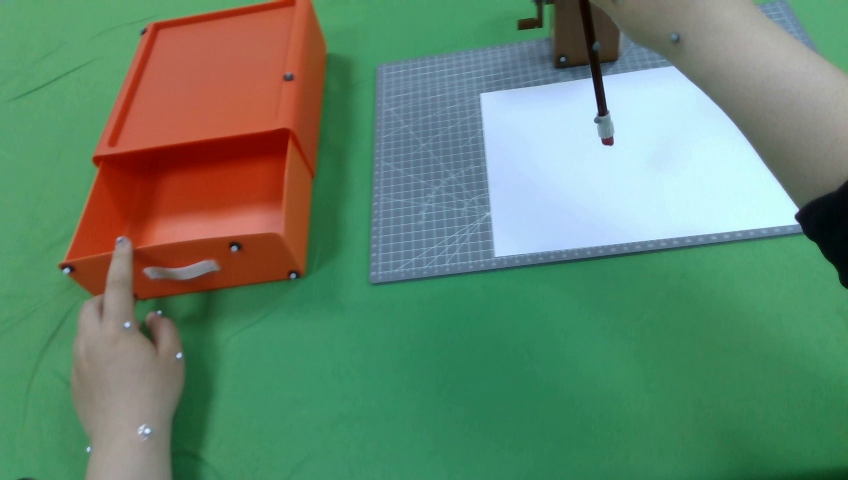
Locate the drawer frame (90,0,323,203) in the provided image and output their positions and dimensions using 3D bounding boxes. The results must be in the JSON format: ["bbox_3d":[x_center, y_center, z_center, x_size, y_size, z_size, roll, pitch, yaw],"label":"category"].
[{"bbox_3d":[-0.218,-0.148,0.648,0.201,0.083,0.211,-8,53,6],"label":"drawer frame"}]

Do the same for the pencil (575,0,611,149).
[{"bbox_3d":[0.108,-0.136,0.401,0.012,0.196,0.012,-13,45,14],"label":"pencil"}]

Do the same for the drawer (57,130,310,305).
[{"bbox_3d":[-0.212,-0.051,0.582,0.194,0.074,0.209,-8,53,6],"label":"drawer"}]

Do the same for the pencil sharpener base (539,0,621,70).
[{"bbox_3d":[0.155,-0.235,0.616,0.076,0.108,0.061,-5,54,9],"label":"pencil sharpener base"}]

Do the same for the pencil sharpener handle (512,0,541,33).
[{"bbox_3d":[0.103,-0.239,0.614,0.030,0.068,0.035,-5,60,9],"label":"pencil sharpener handle"}]
